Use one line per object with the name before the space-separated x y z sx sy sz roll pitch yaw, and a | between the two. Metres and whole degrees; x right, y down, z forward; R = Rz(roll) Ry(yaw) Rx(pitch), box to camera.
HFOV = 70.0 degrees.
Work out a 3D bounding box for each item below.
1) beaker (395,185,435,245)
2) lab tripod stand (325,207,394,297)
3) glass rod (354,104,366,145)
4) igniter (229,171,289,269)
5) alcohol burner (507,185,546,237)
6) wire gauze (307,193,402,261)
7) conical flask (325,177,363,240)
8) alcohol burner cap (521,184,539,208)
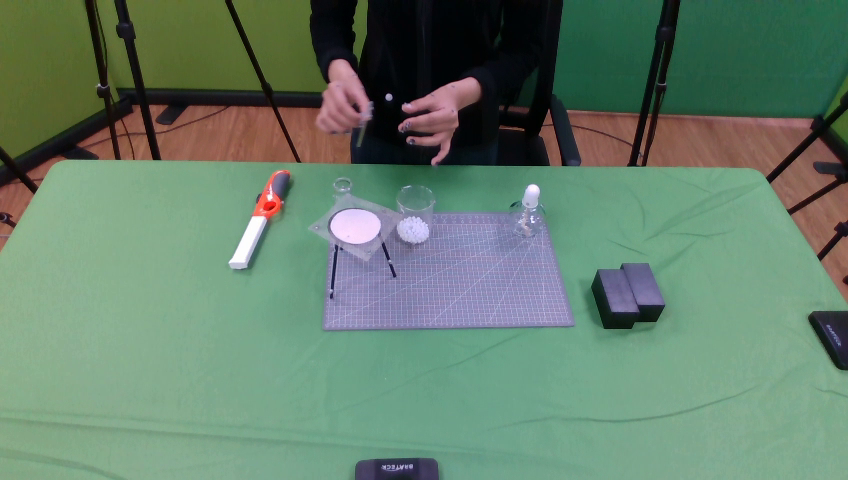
beaker | -0.022 -0.048 1.187 0.074 0.101 0.083 -28 53 -28
lab tripod stand | -0.124 0.017 1.092 0.148 0.132 0.147 3 44 -3
glass rod | -0.115 -0.204 1.082 0.008 0.200 0.008 2 80 -11
igniter | -0.328 -0.049 1.218 0.057 0.025 0.275 1 45 11
alcohol burner | 0.208 -0.063 1.210 0.078 0.119 0.077 3 44 -3
wire gauze | -0.118 -0.028 1.043 0.125 0.011 0.121 24 47 17
conical flask | -0.158 -0.064 1.176 0.075 0.122 0.075 2 46 -2
alcohol burner cap | 0.210 -0.087 1.183 0.034 0.048 0.033 0 52 0
